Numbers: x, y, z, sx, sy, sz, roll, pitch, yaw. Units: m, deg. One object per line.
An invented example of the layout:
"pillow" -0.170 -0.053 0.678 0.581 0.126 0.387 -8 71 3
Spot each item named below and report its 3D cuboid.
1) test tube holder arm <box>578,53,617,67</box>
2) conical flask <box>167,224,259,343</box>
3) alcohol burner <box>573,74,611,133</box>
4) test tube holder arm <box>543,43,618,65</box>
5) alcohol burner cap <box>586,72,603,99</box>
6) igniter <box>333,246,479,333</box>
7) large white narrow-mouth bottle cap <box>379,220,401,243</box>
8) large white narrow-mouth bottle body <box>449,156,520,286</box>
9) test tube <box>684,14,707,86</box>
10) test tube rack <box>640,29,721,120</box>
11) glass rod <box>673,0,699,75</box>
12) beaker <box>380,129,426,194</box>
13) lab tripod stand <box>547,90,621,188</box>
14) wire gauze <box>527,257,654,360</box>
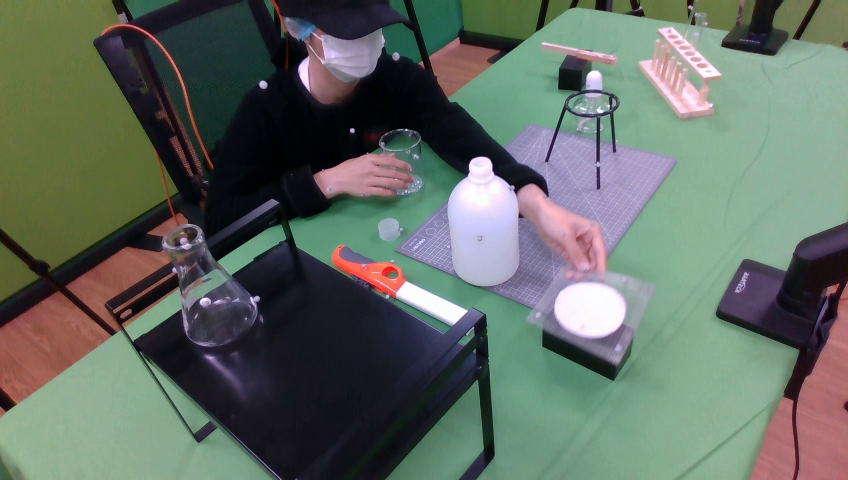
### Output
"test tube holder arm" 0.376 -0.393 1.314 0.087 0.015 0.010 26 51 32
"conical flask" -0.220 0.041 0.613 0.075 0.122 0.075 -5 40 4
"alcohol burner" 0.330 -0.270 1.176 0.078 0.119 0.077 -4 43 4
"test tube holder arm" 0.345 -0.413 1.340 0.177 0.015 0.013 25 50 31
"alcohol burner cap" 0.325 -0.297 1.154 0.034 0.048 0.033 -8 35 6
"igniter" -0.038 0.068 0.905 0.274 0.025 0.057 23 60 32
"large white narrow-mouth bottle cap" -0.057 -0.015 1.011 0.038 0.024 0.037 -4 40 4
"large white narrow-mouth bottle body" 0.086 -0.032 0.868 0.102 0.195 0.101 -4 40 4
"test tube" 0.541 -0.379 1.216 0.017 0.151 0.017 -2 44 2
"test tube rack" 0.527 -0.351 1.262 0.067 0.085 0.241 -8 40 1
"glass rod" 0.541 -0.427 1.246 0.008 0.200 0.008 0 48 1
"beaker" -0.033 -0.142 1.096 0.073 0.101 0.084 14 44 24
"lab tripod stand" 0.289 -0.184 1.062 0.148 0.132 0.147 -6 41 6
"wire gauze" 0.210 0.079 0.763 0.124 0.011 0.121 21 55 31
